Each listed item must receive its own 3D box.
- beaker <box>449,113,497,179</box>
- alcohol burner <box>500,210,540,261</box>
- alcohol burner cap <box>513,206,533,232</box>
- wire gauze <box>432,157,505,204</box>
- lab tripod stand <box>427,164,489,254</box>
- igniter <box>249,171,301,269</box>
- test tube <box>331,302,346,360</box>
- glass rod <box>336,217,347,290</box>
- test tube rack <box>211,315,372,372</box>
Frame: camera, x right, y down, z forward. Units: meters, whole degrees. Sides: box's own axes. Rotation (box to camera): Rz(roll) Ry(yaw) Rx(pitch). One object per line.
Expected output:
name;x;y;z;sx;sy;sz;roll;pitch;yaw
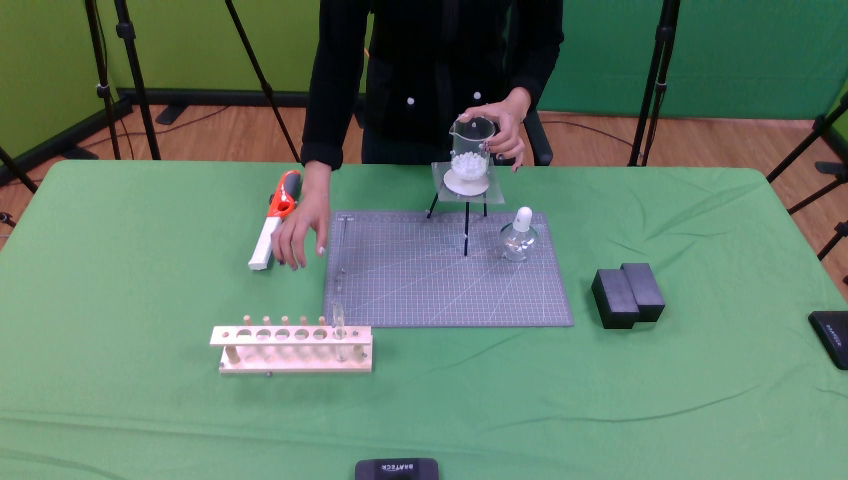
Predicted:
beaker;0.084;-0.165;1.089;0.084;0.101;0.073;-8;49;-9
alcohol burner;0.185;-0.016;1.159;0.078;0.120;0.077;2;48;-2
alcohol burner cap;0.187;-0.042;1.134;0.034;0.048;0.033;6;42;-5
wire gauze;0.081;-0.112;1.137;0.125;0.011;0.120;-2;48;-6
lab tripod stand;0.078;-0.068;1.188;0.148;0.132;0.147;3;47;-3
igniter;-0.297;-0.049;1.220;0.057;0.025;0.275;-1;45;9
test tube;-0.132;0.144;0.938;0.017;0.151;0.017;2;49;-3
glass rod;-0.159;0.022;1.171;0.008;0.008;0.198;1;43;-2
test tube rack;-0.208;0.163;0.982;0.242;0.085;0.066;1;46;-4
